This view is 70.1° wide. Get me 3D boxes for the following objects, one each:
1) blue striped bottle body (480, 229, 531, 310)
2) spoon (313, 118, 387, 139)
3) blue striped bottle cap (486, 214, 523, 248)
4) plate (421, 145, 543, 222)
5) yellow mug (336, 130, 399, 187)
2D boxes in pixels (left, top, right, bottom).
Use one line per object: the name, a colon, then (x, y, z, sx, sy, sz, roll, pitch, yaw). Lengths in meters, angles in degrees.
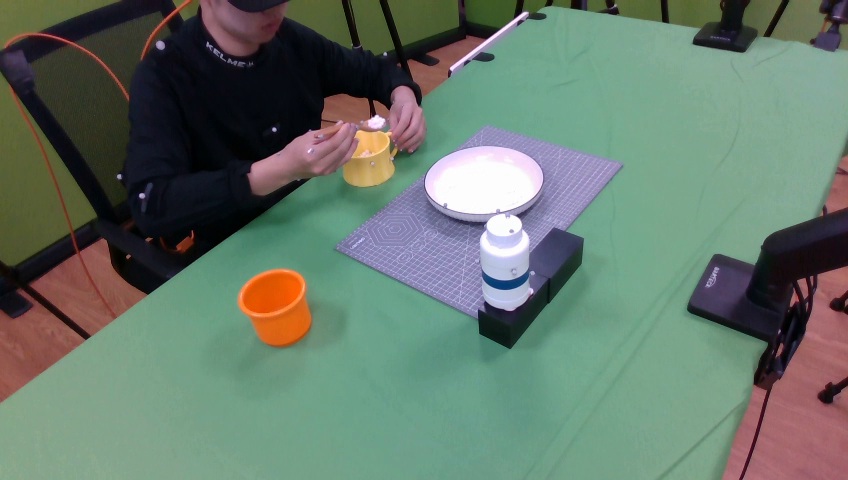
blue striped bottle body: (0.104, 0.027, 0.769, 0.063, 0.121, 0.063, -4, 41, 4)
spoon: (-0.121, -0.184, 0.992, 0.041, 0.021, 0.194, 21, 22, 22)
blue striped bottle cap: (0.098, -0.011, 0.735, 0.044, 0.021, 0.044, -3, 38, 3)
plate: (0.101, -0.094, 1.048, 0.207, 0.039, 0.206, -4, 41, 4)
yellow mug: (-0.098, -0.162, 1.139, 0.131, 0.064, 0.099, -34, 48, -29)
